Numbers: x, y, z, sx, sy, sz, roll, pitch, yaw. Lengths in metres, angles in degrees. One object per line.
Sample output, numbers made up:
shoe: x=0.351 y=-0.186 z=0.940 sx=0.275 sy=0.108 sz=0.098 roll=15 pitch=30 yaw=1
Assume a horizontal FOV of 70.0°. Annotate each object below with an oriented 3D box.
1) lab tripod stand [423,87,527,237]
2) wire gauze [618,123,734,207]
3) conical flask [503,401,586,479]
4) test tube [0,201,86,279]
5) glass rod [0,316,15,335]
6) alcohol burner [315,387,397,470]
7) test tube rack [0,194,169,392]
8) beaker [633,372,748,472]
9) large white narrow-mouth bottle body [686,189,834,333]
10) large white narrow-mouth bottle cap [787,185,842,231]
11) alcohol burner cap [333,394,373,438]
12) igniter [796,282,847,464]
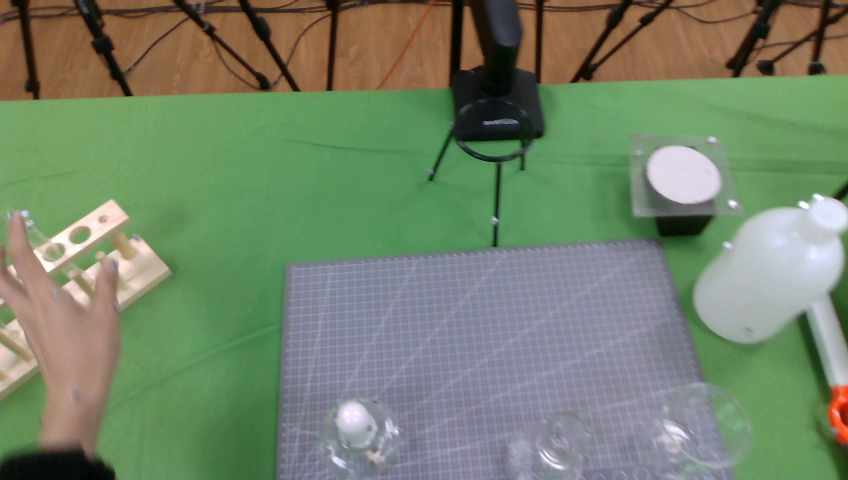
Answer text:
lab tripod stand: x=0.068 y=-0.097 z=0.712 sx=0.148 sy=0.132 sz=0.147 roll=1 pitch=61 yaw=-2
wire gauze: x=0.298 y=-0.090 z=0.728 sx=0.121 sy=0.011 sz=0.124 roll=3 pitch=60 yaw=1
conical flask: x=0.115 y=0.183 z=0.555 sx=0.075 sy=0.123 sz=0.074 roll=0 pitch=60 yaw=0
test tube: x=-0.383 y=0.005 z=0.613 sx=0.017 sy=0.151 sz=0.017 roll=1 pitch=62 yaw=-1
glass rod: x=-0.436 y=0.040 z=0.573 sx=0.008 sy=0.201 sz=0.008 roll=2 pitch=51 yaw=-3
alcohol burner: x=-0.064 y=0.170 z=0.563 sx=0.078 sy=0.120 sz=0.077 roll=2 pitch=58 yaw=-2
test tube rack: x=-0.404 y=0.065 z=0.636 sx=0.066 sy=0.086 sz=0.242 roll=41 pitch=67 yaw=20
beaker: x=0.243 y=0.177 z=0.574 sx=0.084 sy=0.101 sz=0.073 roll=1 pitch=59 yaw=1
large white narrow-mouth bottle body: x=0.348 y=0.016 z=0.617 sx=0.102 sy=0.196 sz=0.101 roll=0 pitch=59 yaw=0
large white narrow-mouth bottle cap: x=0.349 y=-0.029 z=0.543 sx=0.038 sy=0.024 sz=0.037 roll=1 pitch=60 yaw=-1
alcohol burner cap: x=-0.064 y=0.153 z=0.531 sx=0.034 sy=0.048 sz=0.033 roll=-2 pitch=60 yaw=4
igniter: x=0.438 y=0.154 z=0.636 sx=0.057 sy=0.025 sz=0.274 roll=6 pitch=60 yaw=-9
